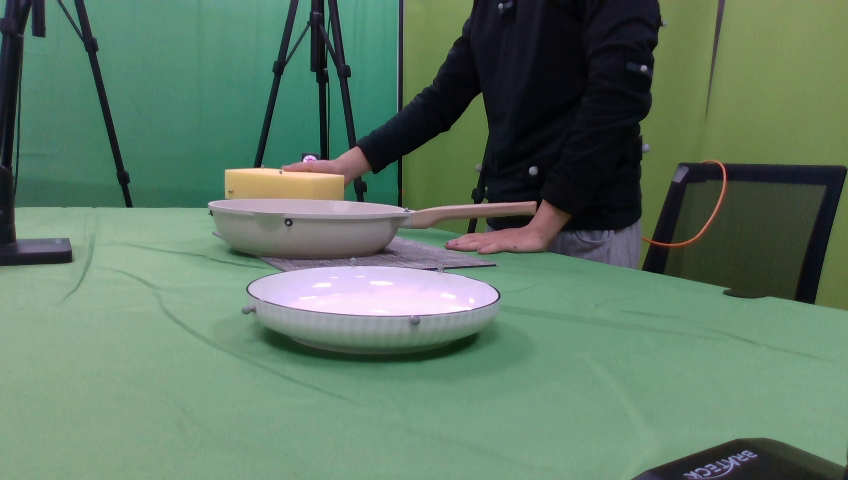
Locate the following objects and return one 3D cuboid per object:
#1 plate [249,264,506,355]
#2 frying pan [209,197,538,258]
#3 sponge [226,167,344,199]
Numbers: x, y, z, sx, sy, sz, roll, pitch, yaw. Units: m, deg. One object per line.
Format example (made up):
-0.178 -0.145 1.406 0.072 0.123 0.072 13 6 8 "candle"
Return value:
-0.037 0.056 0.504 0.208 0.039 0.207 2 7 0 "plate"
-0.075 -0.034 0.912 0.487 0.102 0.307 -5 7 12 "frying pan"
-0.283 -0.111 1.239 0.206 0.061 0.118 7 11 21 "sponge"
